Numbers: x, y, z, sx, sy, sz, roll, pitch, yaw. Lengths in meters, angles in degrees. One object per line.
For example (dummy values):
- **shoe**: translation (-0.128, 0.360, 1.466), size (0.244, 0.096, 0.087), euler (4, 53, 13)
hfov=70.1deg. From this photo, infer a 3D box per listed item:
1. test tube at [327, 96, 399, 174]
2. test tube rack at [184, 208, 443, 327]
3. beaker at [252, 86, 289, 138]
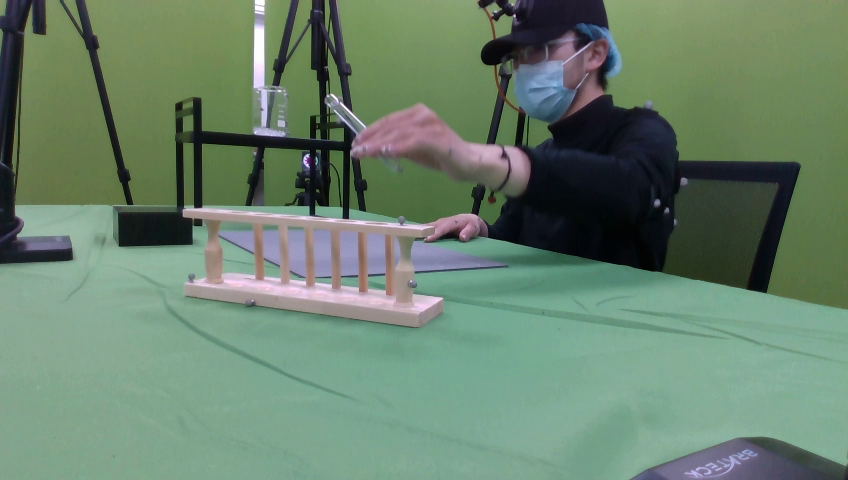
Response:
- **test tube**: translation (-0.078, -0.132, 0.757), size (0.017, 0.017, 0.149), euler (-7, 47, -49)
- **test tube rack**: translation (-0.106, 0.019, 0.570), size (0.241, 0.085, 0.067), euler (5, 7, 20)
- **beaker**: translation (-0.319, -0.263, 1.250), size (0.074, 0.100, 0.084), euler (5, 8, 21)
